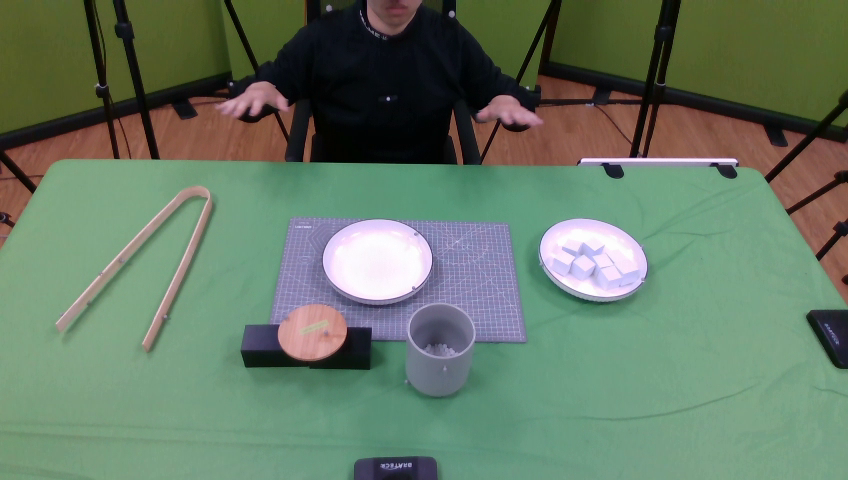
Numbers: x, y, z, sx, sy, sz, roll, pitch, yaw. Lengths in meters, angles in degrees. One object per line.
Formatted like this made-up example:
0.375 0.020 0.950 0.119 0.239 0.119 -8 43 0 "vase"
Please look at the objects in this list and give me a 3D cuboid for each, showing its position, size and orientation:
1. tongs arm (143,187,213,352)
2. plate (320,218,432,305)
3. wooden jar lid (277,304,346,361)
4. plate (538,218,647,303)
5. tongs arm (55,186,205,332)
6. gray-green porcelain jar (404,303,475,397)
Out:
-0.449 0.039 1.121 0.028 0.028 0.385 2 46 1 "tongs arm"
-0.089 0.044 1.134 0.209 0.038 0.208 3 46 -2 "plate"
-0.179 0.150 0.972 0.108 0.021 0.107 2 45 -2 "wooden jar lid"
0.322 0.042 1.171 0.208 0.039 0.206 2 46 -2 "plate"
-0.530 0.022 1.126 0.051 0.026 0.383 14 46 8 "tongs arm"
0.022 0.178 0.956 0.106 0.127 0.105 2 46 -2 "gray-green porcelain jar"
